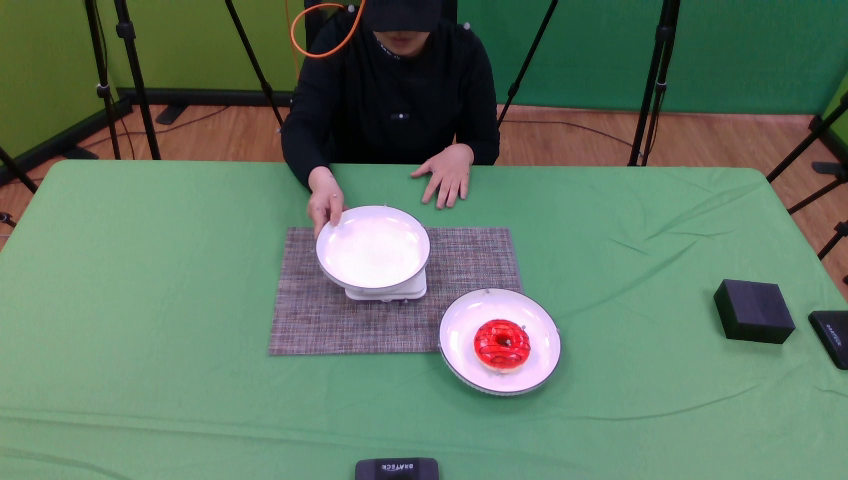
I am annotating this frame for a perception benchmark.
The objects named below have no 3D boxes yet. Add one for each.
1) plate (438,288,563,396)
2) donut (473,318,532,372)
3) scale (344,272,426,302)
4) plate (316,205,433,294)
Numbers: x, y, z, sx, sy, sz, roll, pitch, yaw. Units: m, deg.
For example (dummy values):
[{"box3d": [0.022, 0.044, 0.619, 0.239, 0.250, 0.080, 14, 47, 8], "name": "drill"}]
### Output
[{"box3d": [0.128, 0.173, 1.025, 0.209, 0.038, 0.208, 3, 48, -3], "name": "plate"}, {"box3d": [0.131, 0.174, 1.010, 0.099, 0.048, 0.098, 1, 48, -1], "name": "donut"}, {"box3d": [-0.074, 0.033, 1.149, 0.149, 0.032, 0.199, 0, 45, -5], "name": "scale"}, {"box3d": [-0.089, 0.021, 1.096, 0.208, 0.039, 0.206, 2, 46, -2], "name": "plate"}]
